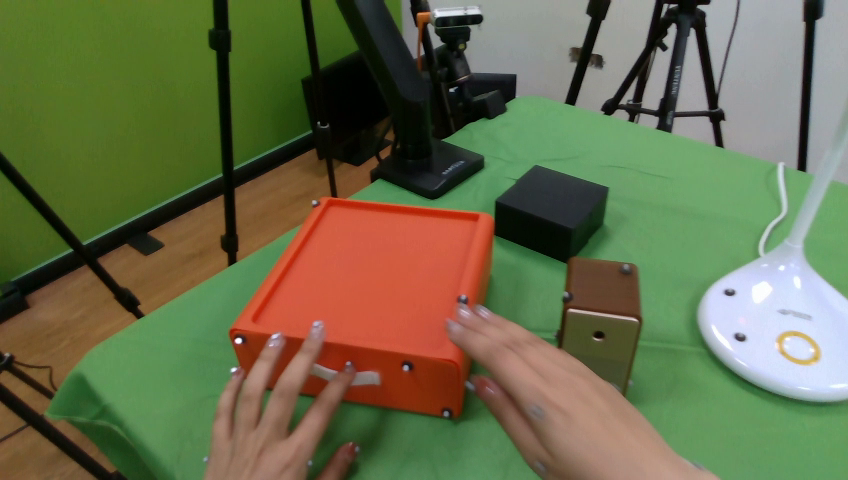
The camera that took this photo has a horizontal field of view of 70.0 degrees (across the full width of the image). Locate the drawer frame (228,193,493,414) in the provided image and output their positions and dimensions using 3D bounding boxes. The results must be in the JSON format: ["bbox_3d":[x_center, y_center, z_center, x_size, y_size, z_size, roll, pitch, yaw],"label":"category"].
[{"bbox_3d":[-0.047,0.049,0.593,0.201,0.083,0.212,5,37,11],"label":"drawer frame"}]

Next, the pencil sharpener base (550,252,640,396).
[{"bbox_3d":[0.148,0.073,0.532,0.061,0.108,0.076,6,38,12],"label":"pencil sharpener base"}]

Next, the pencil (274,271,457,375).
[{"bbox_3d":[-0.051,0.074,0.569,0.194,0.012,0.012,-28,43,-12],"label":"pencil"}]

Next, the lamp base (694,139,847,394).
[{"bbox_3d":[0.342,0.013,0.541,0.160,0.182,0.178,5,36,9],"label":"lamp base"}]

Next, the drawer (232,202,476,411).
[{"bbox_3d":[-0.045,0.052,0.591,0.194,0.074,0.210,6,37,12],"label":"drawer"}]

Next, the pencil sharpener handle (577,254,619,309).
[{"bbox_3d":[0.158,0.033,0.564,0.036,0.068,0.030,11,39,8],"label":"pencil sharpener handle"}]
